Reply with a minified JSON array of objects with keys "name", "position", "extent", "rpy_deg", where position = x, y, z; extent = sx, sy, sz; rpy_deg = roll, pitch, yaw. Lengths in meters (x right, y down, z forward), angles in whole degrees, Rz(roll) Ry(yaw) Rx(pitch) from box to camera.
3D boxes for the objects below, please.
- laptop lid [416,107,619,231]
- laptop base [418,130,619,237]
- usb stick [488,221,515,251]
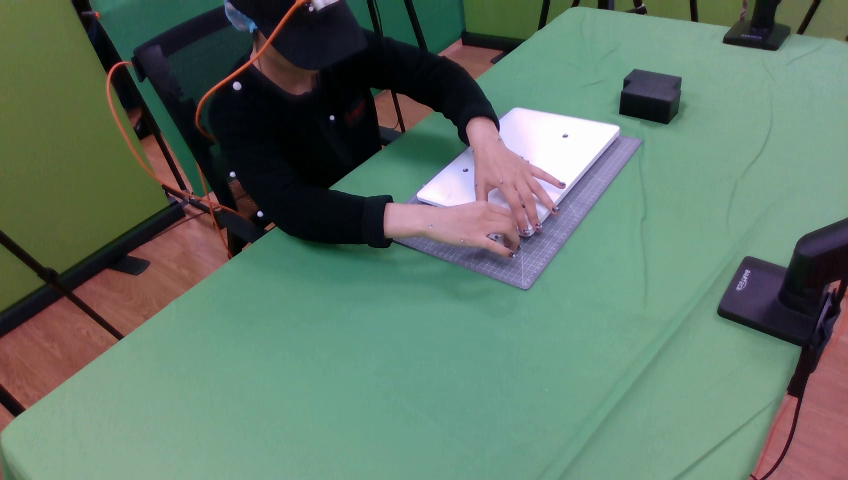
[{"name":"laptop lid","position":[0.176,-0.146,1.106],"extent":[0.239,0.013,0.357],"rpy_deg":[21,48,34]},{"name":"laptop base","position":[0.180,-0.137,1.112],"extent":[0.233,0.023,0.355],"rpy_deg":[19,47,33]},{"name":"usb stick","position":[0.127,-0.011,0.954],"extent":[0.021,0.027,0.059],"rpy_deg":[21,47,35]}]
